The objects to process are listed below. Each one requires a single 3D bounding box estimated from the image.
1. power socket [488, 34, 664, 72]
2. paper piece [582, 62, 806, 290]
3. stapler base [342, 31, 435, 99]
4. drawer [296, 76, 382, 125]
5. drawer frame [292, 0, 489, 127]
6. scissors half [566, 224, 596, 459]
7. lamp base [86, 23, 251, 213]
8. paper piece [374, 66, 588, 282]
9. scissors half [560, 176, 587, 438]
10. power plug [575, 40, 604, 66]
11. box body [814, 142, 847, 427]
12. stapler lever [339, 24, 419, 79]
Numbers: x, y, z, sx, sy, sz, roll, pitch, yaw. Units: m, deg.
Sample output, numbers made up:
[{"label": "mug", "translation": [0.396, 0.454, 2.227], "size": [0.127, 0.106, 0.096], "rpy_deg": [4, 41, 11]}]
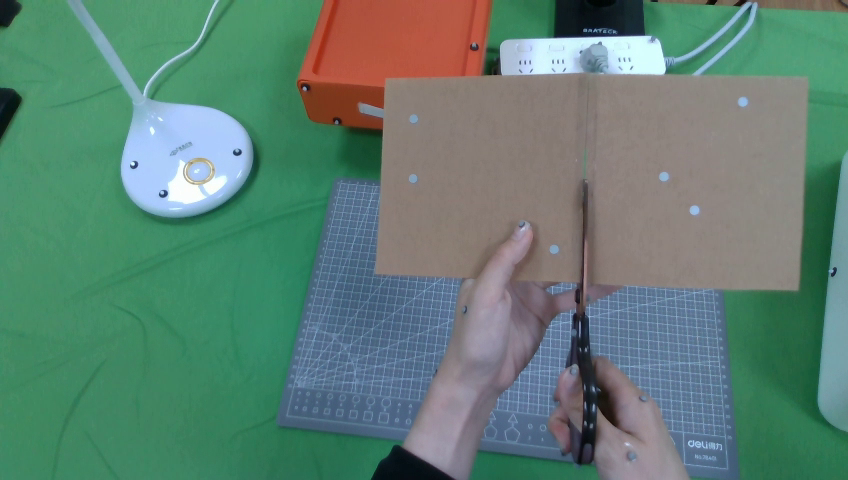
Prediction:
[{"label": "power socket", "translation": [0.198, -0.233, 0.791], "size": [0.227, 0.033, 0.071], "rpy_deg": [0, 64, 2]}, {"label": "paper piece", "translation": [0.165, -0.040, 0.379], "size": [0.135, 0.004, 0.136], "rpy_deg": [4, 93, 5]}, {"label": "stapler base", "translation": [-0.047, -0.218, 0.738], "size": [0.129, 0.024, 0.041], "rpy_deg": [34, 85, 21]}, {"label": "drawer", "translation": [-0.029, -0.237, 0.727], "size": [0.194, 0.074, 0.210], "rpy_deg": [6, 63, 7]}, {"label": "drawer frame", "translation": [-0.031, -0.239, 0.728], "size": [0.201, 0.083, 0.212], "rpy_deg": [6, 63, 6]}, {"label": "scissors half", "translation": [0.098, 0.046, 0.376], "size": [0.013, 0.040, 0.174], "rpy_deg": [3, 77, 1]}, {"label": "lamp base", "translation": [-0.308, -0.145, 0.686], "size": [0.178, 0.182, 0.160], "rpy_deg": [36, 69, 22]}, {"label": "paper piece", "translation": [0.035, -0.043, 0.397], "size": [0.135, 0.009, 0.138], "rpy_deg": [3, 90, 13]}, {"label": "scissors half", "translation": [0.100, 0.046, 0.398], "size": [0.013, 0.040, 0.175], "rpy_deg": [3, 102, 6]}, {"label": "power plug", "translation": [0.206, -0.217, 0.757], "size": [0.035, 0.053, 0.072], "rpy_deg": [9, 64, 7]}, {"label": "box body", "translation": [0.541, 0.029, 0.569], "size": [0.253, 0.161, 0.362], "rpy_deg": [18, 65, 11]}, {"label": "stapler lever", "translation": [-0.055, -0.225, 0.714], "size": [0.117, 0.040, 0.027], "rpy_deg": [34, 85, 22]}]
